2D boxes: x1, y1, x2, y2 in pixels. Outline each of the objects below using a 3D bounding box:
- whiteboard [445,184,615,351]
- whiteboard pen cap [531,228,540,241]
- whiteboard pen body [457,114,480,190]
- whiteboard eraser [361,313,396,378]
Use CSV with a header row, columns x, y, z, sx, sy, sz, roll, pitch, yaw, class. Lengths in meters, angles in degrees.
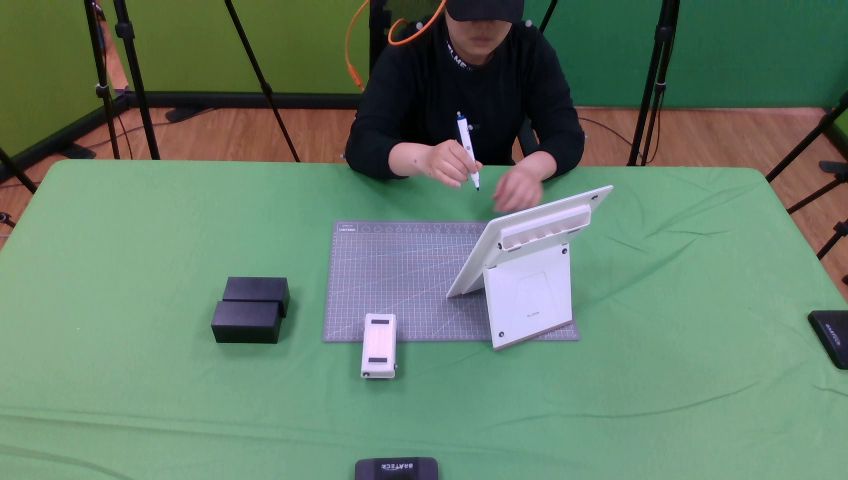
x,y,z,sx,sy,sz,roll,pitch,yaw,class
0.187,0.065,0.989,0.217,0.306,0.143,-15,68,-18,whiteboard
0.225,-0.012,1.221,0.018,0.018,0.033,13,30,9,whiteboard pen cap
0.081,-0.155,1.078,0.017,0.141,0.017,-14,20,5,whiteboard pen body
-0.075,0.176,1.006,0.055,0.042,0.112,3,50,-4,whiteboard eraser
